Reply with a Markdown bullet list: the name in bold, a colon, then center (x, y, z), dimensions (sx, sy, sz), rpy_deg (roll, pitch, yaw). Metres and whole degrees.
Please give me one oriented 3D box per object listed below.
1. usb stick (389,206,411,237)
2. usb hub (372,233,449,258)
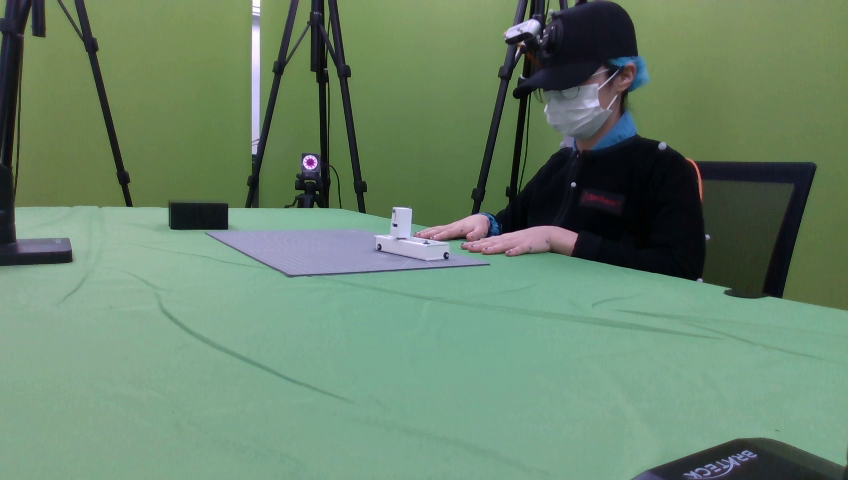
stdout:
- **usb stick**: center (-0.036, -0.022, 0.909), dimensions (0.027, 0.059, 0.021), rpy_deg (-6, 13, -43)
- **usb hub**: center (-0.023, 0.007, 0.918), dimensions (0.050, 0.025, 0.124), rpy_deg (-5, 10, -42)
